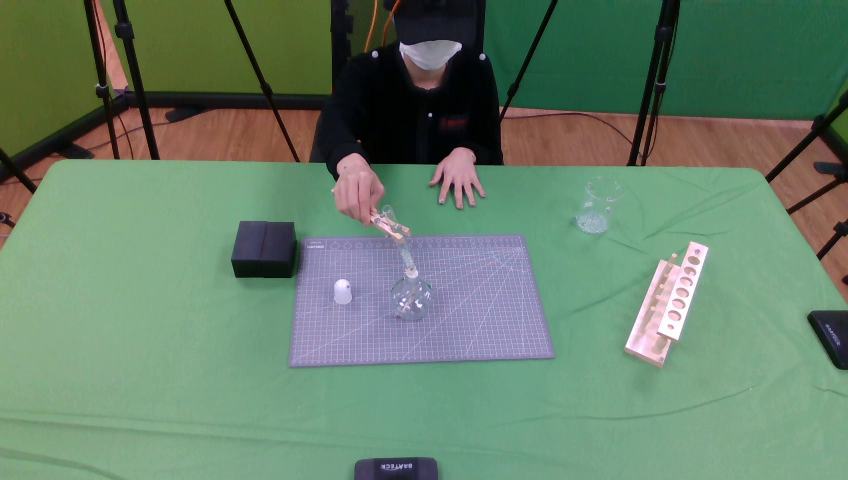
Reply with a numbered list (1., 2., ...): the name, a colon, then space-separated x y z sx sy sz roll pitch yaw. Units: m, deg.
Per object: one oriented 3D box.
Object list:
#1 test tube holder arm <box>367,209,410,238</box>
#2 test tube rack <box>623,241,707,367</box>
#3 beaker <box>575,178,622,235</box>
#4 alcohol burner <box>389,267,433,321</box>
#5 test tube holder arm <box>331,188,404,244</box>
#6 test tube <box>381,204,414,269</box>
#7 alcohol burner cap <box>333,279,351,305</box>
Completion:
1. test tube holder arm: -0.057 -0.026 0.939 0.087 0.015 0.010 25 62 31
2. test tube rack: 0.435 0.104 1.089 0.066 0.085 0.242 24 49 19
3. beaker: 0.356 -0.068 1.240 0.084 0.101 0.073 -18 50 -21
4. alcohol burner: -0.022 0.085 1.046 0.078 0.119 0.077 2 48 -3
5. test tube holder arm: -0.093 -0.041 0.962 0.013 0.015 0.177 -42 53 -20
6. test tube: -0.039 -0.002 0.941 0.017 0.151 0.017 -8 51 10
7. alcohol burner cap: -0.147 0.090 1.083 0.034 0.048 0.033 3 46 -2
